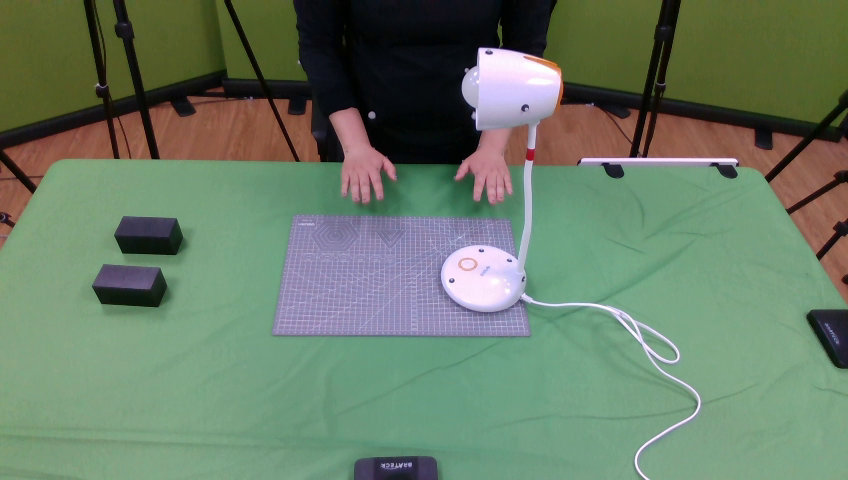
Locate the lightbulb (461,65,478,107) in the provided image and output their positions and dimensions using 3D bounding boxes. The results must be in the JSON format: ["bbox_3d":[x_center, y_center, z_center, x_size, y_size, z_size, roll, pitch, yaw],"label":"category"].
[{"bbox_3d":[0.106,-0.214,0.850,0.108,0.060,0.059,4,45,-2],"label":"lightbulb"}]

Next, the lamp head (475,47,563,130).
[{"bbox_3d":[0.129,-0.206,0.840,0.123,0.113,0.112,5,45,-1],"label":"lamp head"}]

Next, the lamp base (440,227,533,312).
[{"bbox_3d":[0.126,0.021,1.072,0.179,0.181,0.160,22,49,13],"label":"lamp base"}]
